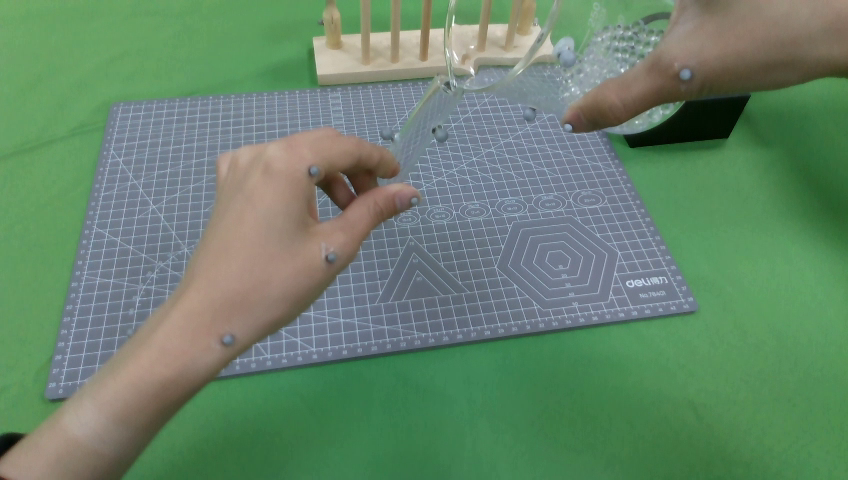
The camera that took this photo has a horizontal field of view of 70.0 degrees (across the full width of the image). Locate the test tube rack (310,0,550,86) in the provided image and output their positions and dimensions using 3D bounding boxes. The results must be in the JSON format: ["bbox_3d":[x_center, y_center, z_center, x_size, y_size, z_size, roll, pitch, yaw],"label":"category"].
[{"bbox_3d":[0.007,-0.218,0.603,0.243,0.086,0.066,-7,51,-8],"label":"test tube rack"}]

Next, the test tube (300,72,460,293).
[{"bbox_3d":[-0.028,-0.022,0.312,0.017,0.150,0.017,26,34,-19],"label":"test tube"}]

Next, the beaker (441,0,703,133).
[{"bbox_3d":[0.068,-0.090,0.275,0.101,0.084,0.073,8,46,-34],"label":"beaker"}]
